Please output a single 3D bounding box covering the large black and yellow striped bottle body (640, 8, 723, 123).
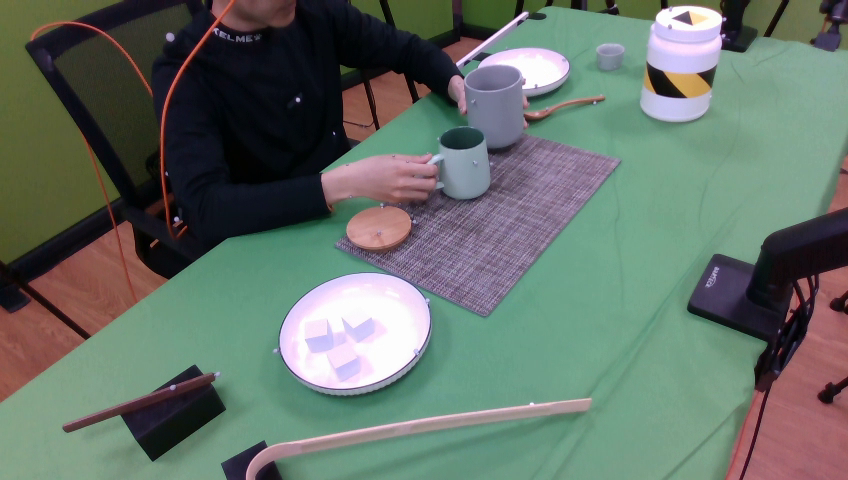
[{"bbox_3d":[0.493,-0.334,1.161,0.131,0.185,0.130,-4,41,4],"label":"large black and yellow striped bottle body"}]

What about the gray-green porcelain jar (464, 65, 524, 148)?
[{"bbox_3d":[0.132,-0.243,1.122,0.106,0.127,0.105,-6,41,6],"label":"gray-green porcelain jar"}]

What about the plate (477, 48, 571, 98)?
[{"bbox_3d":[0.223,-0.371,1.357,0.209,0.038,0.208,-4,41,4],"label":"plate"}]

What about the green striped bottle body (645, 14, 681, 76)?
[{"bbox_3d":[0.520,-0.424,1.312,0.063,0.120,0.063,-4,41,4],"label":"green striped bottle body"}]

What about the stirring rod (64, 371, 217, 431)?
[{"bbox_3d":[-0.337,0.192,0.723,0.177,0.014,0.005,-18,43,-12],"label":"stirring rod"}]

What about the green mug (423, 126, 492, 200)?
[{"bbox_3d":[0.055,-0.126,1.039,0.126,0.105,0.091,-25,44,-18],"label":"green mug"}]

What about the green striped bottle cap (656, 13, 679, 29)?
[{"bbox_3d":[0.515,-0.463,1.278,0.044,0.020,0.044,-6,42,6],"label":"green striped bottle cap"}]

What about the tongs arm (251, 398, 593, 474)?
[{"bbox_3d":[0.008,0.212,0.675,0.389,0.028,0.028,-5,46,-11],"label":"tongs arm"}]

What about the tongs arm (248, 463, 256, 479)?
[{"bbox_3d":[0.012,0.262,0.615,0.385,0.026,0.050,2,42,-2],"label":"tongs arm"}]

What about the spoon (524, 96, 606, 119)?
[{"bbox_3d":[0.291,-0.277,1.249,0.194,0.022,0.041,-17,24,-11],"label":"spoon"}]

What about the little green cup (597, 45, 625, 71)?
[{"bbox_3d":[0.423,-0.413,1.375,0.061,0.039,0.061,-3,41,3],"label":"little green cup"}]

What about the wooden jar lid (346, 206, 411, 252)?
[{"bbox_3d":[-0.074,-0.017,0.996,0.108,0.021,0.108,-4,39,3],"label":"wooden jar lid"}]

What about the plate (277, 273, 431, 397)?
[{"bbox_3d":[-0.091,0.129,0.821,0.207,0.039,0.206,-4,40,4],"label":"plate"}]

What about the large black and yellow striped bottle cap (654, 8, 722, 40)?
[{"bbox_3d":[0.483,-0.397,1.108,0.115,0.019,0.114,-3,41,3],"label":"large black and yellow striped bottle cap"}]
